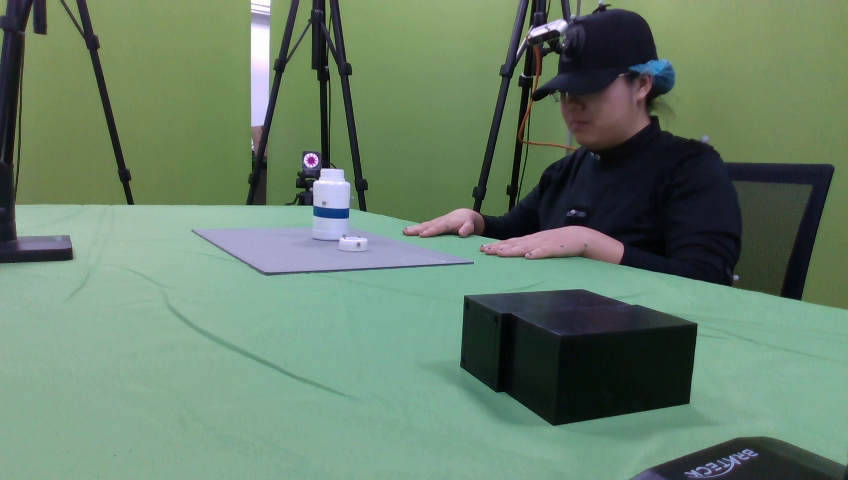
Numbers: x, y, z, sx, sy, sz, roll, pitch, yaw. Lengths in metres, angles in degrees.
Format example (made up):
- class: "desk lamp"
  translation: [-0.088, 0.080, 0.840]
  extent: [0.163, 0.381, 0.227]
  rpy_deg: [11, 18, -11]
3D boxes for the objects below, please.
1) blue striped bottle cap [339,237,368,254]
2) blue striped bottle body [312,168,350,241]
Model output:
- class: "blue striped bottle cap"
  translation: [-0.107, 0.008, 0.920]
  extent: [0.044, 0.020, 0.044]
  rpy_deg: [1, 7, 0]
- class: "blue striped bottle body"
  translation: [-0.157, -0.062, 1.025]
  extent: [0.063, 0.120, 0.063]
  rpy_deg: [3, 7, 0]
